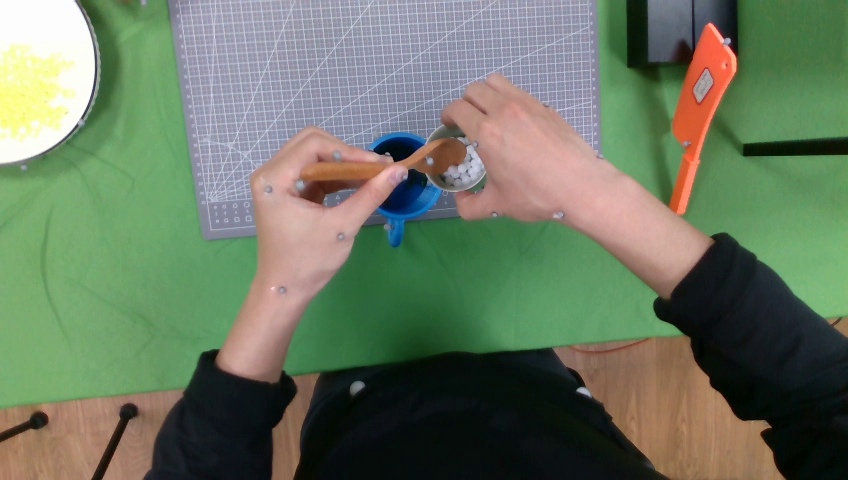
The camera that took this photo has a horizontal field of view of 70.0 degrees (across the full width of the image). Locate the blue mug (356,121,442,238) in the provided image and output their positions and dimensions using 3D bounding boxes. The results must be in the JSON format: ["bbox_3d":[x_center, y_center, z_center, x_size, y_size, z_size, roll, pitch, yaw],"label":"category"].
[{"bbox_3d":[-0.029,-0.060,0.620,0.082,0.105,0.117,2,99,-8],"label":"blue mug"}]

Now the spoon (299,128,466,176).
[{"bbox_3d":[-0.021,-0.062,0.442,0.041,0.194,0.021,-39,83,32],"label":"spoon"}]

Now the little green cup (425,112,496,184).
[{"bbox_3d":[0.034,-0.077,0.529,0.061,0.039,0.061,-1,88,20],"label":"little green cup"}]

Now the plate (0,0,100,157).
[{"bbox_3d":[-0.419,-0.185,0.581,0.209,0.038,0.209,-1,100,-7],"label":"plate"}]

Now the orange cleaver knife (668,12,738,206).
[{"bbox_3d":[0.293,-0.136,0.663,0.012,0.076,0.213,-7,131,-7],"label":"orange cleaver knife"}]
